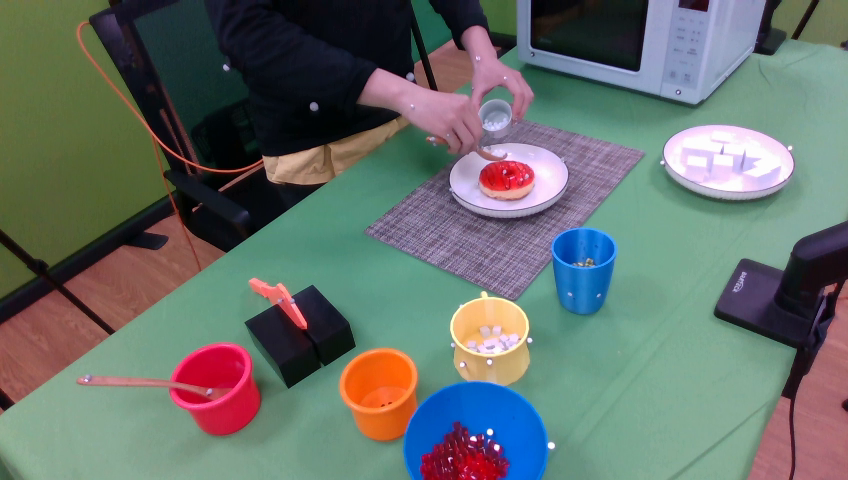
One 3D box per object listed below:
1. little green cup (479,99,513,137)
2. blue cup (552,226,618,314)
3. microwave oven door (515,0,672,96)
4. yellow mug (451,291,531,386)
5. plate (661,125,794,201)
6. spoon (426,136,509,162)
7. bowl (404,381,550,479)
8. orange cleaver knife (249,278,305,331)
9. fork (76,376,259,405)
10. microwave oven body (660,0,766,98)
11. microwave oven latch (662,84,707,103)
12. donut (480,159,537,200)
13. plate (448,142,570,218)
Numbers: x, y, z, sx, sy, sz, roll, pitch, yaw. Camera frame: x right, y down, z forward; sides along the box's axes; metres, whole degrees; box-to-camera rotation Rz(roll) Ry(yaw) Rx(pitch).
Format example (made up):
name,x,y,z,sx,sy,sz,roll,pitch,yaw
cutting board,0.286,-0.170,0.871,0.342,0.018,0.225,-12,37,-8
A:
name,x,y,z,sx,sy,sz,roll,pitch,yaw
little green cup,0.128,-0.214,1.072,0.061,0.039,0.061,-1,77,6
blue cup,0.218,0.047,0.826,0.092,0.100,0.092,-6,40,5
microwave oven door,0.344,-0.455,1.260,0.353,0.245,0.039,26,51,33
yellow mug,0.085,0.120,0.786,0.100,0.064,0.130,-7,39,1
plate,0.513,-0.128,1.035,0.207,0.039,0.206,-4,40,4
spoon,0.069,-0.145,0.949,0.041,0.021,0.195,23,10,41
bowl,0.058,0.235,0.645,0.151,0.077,0.150,-4,39,4
orange cleaver knife,-0.210,0.088,0.856,0.012,0.077,0.210,-28,15,-25
fork,-0.295,0.176,0.716,0.209,0.018,0.028,19,26,-36
microwave oven body,0.473,-0.513,1.317,0.438,0.261,0.327,26,51,34
microwave oven latch,0.517,-0.296,1.204,0.078,0.029,0.030,27,52,35
donut,0.146,-0.106,1.042,0.099,0.048,0.098,-5,38,4
plate,0.148,-0.101,1.053,0.209,0.038,0.208,-4,40,4
